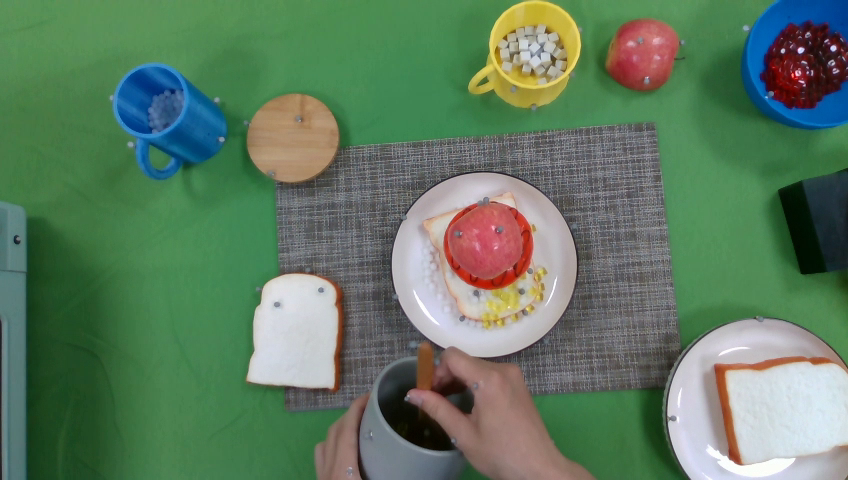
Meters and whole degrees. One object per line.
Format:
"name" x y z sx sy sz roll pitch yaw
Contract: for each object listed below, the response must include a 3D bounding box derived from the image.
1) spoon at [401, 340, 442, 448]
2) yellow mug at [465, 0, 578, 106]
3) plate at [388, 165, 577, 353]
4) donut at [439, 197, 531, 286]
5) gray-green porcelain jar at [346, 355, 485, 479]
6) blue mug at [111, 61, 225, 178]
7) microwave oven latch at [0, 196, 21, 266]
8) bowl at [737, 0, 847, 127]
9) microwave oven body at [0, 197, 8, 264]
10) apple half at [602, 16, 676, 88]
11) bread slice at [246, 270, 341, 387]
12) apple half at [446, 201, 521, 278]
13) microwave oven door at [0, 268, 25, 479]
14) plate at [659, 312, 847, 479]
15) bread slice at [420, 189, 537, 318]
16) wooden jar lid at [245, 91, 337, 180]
"spoon" -0.002 0.147 0.542 0.041 0.195 0.021 14 52 11
"yellow mug" 0.105 -0.204 0.689 0.131 0.064 0.099 -28 84 0
"plate" 0.064 0.021 0.679 0.207 0.039 0.207 0 85 3
"donut" 0.066 0.002 0.653 0.099 0.048 0.099 0 85 4
"gray-green porcelain jar" -0.014 0.188 0.566 0.105 0.105 0.127 25 125 5
"blue mug" -0.288 -0.126 0.679 0.082 0.106 0.116 16 85 5
"microwave oven latch" -0.482 -0.009 0.693 0.030 0.029 0.079 -1 85 2
"bowl" 0.411 -0.190 0.667 0.151 0.077 0.151 0 85 3
"microwave oven body" -0.623 0.166 0.586 0.326 0.261 0.440 -4 85 2
"apple half" 0.248 -0.220 0.690 0.074 0.053 0.080 18 86 7
"bread slice" -0.148 0.100 0.693 0.105 0.019 0.131 3 86 2
"apple half" 0.062 -0.002 0.617 0.081 0.033 0.081 -1 82 10
"microwave oven door" -0.475 0.198 0.571 0.039 0.244 0.355 -4 84 3
"plate" 0.356 0.182 0.653 0.209 0.038 0.208 0 84 3
"bread slice" 0.069 0.019 0.680 0.107 0.018 0.134 -21 84 1
"wooden jar lid" -0.155 -0.121 0.713 0.108 0.021 0.108 -1 81 4
